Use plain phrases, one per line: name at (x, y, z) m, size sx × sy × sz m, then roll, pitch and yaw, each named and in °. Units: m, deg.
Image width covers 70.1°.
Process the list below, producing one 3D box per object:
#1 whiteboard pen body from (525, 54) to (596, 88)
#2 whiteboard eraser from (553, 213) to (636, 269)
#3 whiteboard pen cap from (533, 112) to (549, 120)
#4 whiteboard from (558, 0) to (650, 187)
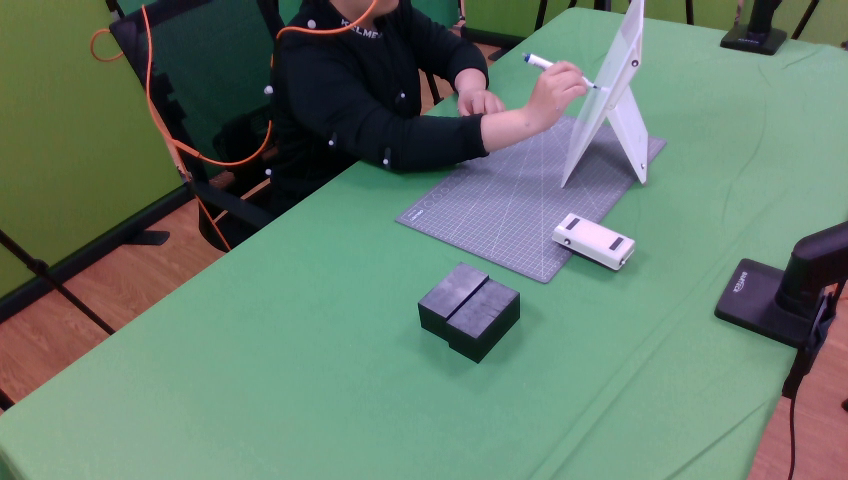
whiteboard pen body at (0.241, -0.293, 1.057) m, size 0.141 × 0.017 × 0.017 m, roll 20°, pitch 41°, yaw -10°
whiteboard eraser at (0.258, 0.003, 0.918) m, size 0.112 × 0.042 × 0.056 m, roll 27°, pitch 49°, yaw 30°
whiteboard pen cap at (0.239, -0.254, 1.238) m, size 0.018 × 0.018 × 0.033 m, roll -29°, pitch 26°, yaw -23°
whiteboard at (0.362, -0.238, 1.026) m, size 0.144 × 0.306 × 0.217 m, roll 21°, pitch 45°, yaw 4°
